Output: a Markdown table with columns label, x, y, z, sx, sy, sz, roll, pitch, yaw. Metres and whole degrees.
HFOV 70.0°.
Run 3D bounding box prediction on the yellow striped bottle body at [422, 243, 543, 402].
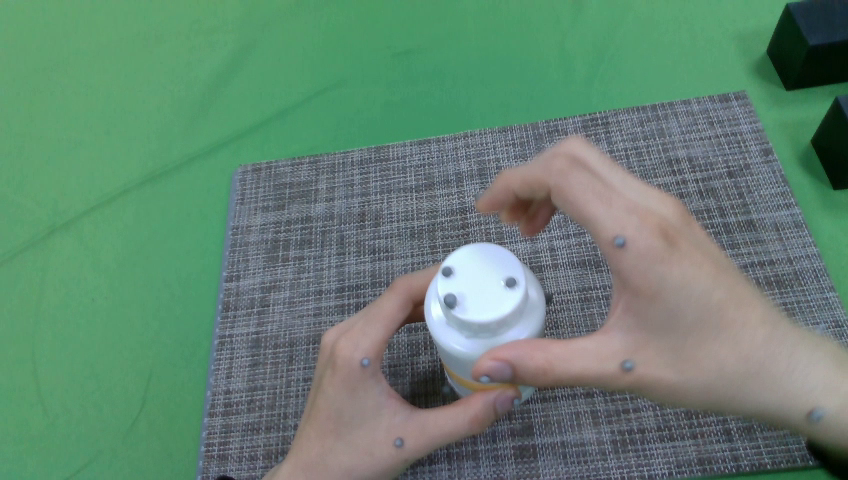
| label | x | y | z | sx | sy | sz | roll | pitch | yaw |
| --- | --- | --- | --- | --- | --- | --- | --- | --- | --- |
| yellow striped bottle body | 0.033 | 0.046 | 0.338 | 0.063 | 0.121 | 0.062 | -3 | 62 | 5 |

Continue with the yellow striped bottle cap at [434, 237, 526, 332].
| label | x | y | z | sx | sy | sz | roll | pitch | yaw |
| --- | --- | --- | --- | --- | --- | --- | --- | --- | --- |
| yellow striped bottle cap | 0.027 | 0.021 | 0.293 | 0.044 | 0.019 | 0.044 | -4 | 61 | 8 |
